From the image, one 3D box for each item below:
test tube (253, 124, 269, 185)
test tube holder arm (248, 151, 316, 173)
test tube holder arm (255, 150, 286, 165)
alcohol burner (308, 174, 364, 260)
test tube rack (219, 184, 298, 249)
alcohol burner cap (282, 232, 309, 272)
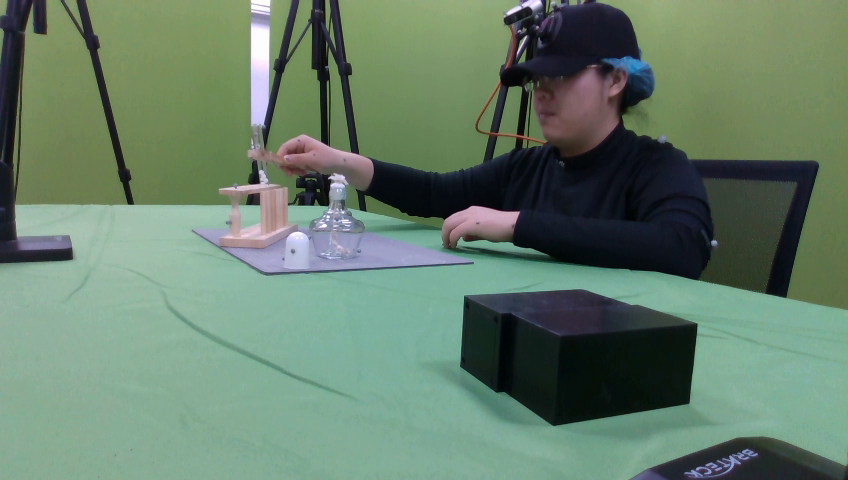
[{"bbox_3d":[-0.286,-0.130,1.070,0.017,0.150,0.017,-6,3,1],"label":"test tube"},{"bbox_3d":[-0.261,-0.145,1.131,0.013,0.015,0.179,-1,-3,27],"label":"test tube holder arm"},{"bbox_3d":[-0.275,-0.148,1.088,0.010,0.015,0.088,-1,-3,19],"label":"test tube holder arm"},{"bbox_3d":[-0.121,-0.033,0.841,0.078,0.119,0.078,3,5,0],"label":"alcohol burner"},{"bbox_3d":[-0.266,-0.046,1.001,0.067,0.085,0.242,3,7,0],"label":"test tube rack"},{"bbox_3d":[-0.157,0.014,0.740,0.034,0.048,0.034,2,6,0],"label":"alcohol burner cap"}]
